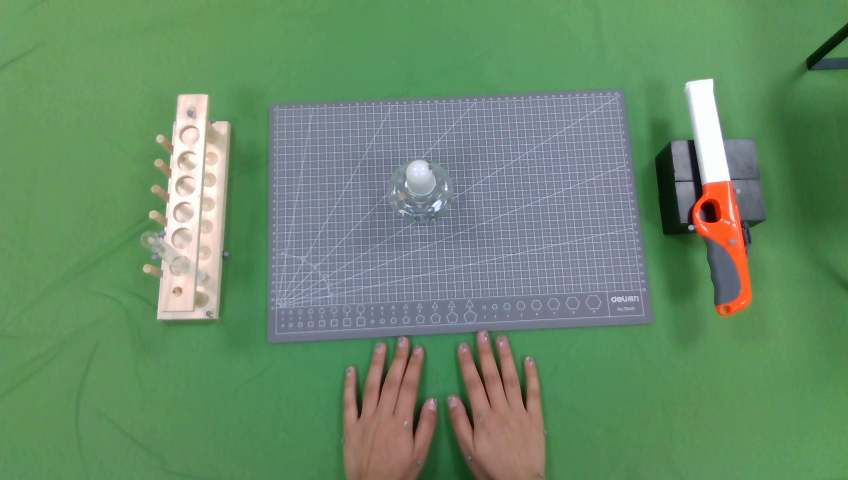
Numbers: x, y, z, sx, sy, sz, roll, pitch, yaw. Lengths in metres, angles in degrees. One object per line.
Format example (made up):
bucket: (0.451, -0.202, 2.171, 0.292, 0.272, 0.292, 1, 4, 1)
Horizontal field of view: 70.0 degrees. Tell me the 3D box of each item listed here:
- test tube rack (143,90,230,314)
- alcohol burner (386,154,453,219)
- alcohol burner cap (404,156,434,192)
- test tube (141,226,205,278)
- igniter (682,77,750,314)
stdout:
test tube rack: (-0.273, -0.041, 0.691, 0.067, 0.085, 0.241, 0, 78, -1)
alcohol burner: (-0.006, -0.065, 0.684, 0.078, 0.119, 0.077, 0, 78, 0)
alcohol burner cap: (-0.006, -0.073, 0.649, 0.034, 0.048, 0.033, 0, 76, 2)
test tube: (-0.256, 0.016, 0.629, 0.017, 0.151, 0.017, 1, 73, -2)
igniter: (0.329, -0.055, 0.687, 0.057, 0.025, 0.275, -5, 77, 9)
